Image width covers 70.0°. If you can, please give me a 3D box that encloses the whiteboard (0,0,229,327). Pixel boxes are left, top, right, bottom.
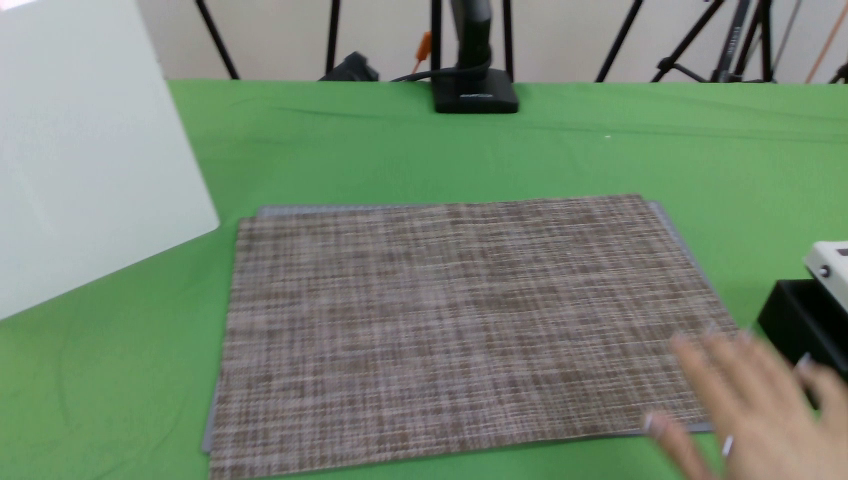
[{"bbox_3d":[-0.352,-0.118,0.559,0.217,0.308,0.142,-28,29,-31],"label":"whiteboard"}]

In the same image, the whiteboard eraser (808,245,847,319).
[{"bbox_3d":[0.363,0.050,0.482,0.056,0.042,0.111,-1,39,-7],"label":"whiteboard eraser"}]
